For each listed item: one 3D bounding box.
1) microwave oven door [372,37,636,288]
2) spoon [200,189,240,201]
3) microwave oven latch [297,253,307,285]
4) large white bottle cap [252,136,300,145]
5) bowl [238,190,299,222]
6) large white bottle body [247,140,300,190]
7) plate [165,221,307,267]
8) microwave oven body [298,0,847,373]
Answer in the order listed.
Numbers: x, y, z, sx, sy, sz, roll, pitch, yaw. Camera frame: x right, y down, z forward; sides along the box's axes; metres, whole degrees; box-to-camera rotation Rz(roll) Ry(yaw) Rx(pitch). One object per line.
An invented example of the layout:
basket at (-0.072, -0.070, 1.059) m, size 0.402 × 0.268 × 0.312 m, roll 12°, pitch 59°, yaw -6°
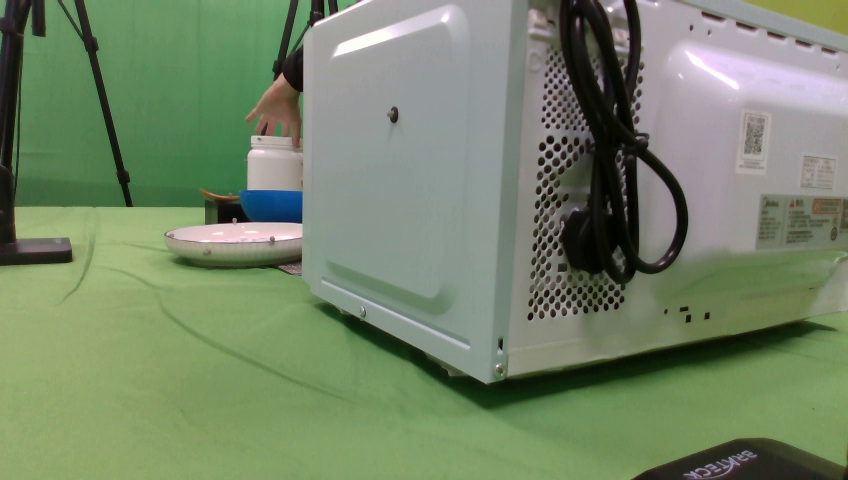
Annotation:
microwave oven door at (0.109, -0.080, 0.686) m, size 0.358 × 0.243 × 0.039 m, roll -2°, pitch 9°, yaw -33°
spoon at (-0.339, -0.080, 1.190) m, size 0.194 × 0.021 × 0.041 m, roll 5°, pitch 0°, yaw -19°
microwave oven latch at (-0.082, 0.027, 0.582) m, size 0.079 × 0.029 × 0.030 m, roll -1°, pitch 7°, yaw -32°
large white bottle cap at (-0.337, -0.228, 1.390) m, size 0.115 × 0.018 × 0.115 m, roll 2°, pitch 7°, yaw 0°
bowl at (-0.245, -0.045, 1.052) m, size 0.151 × 0.077 × 0.151 m, roll 2°, pitch 7°, yaw 0°
large white bottle body at (-0.341, -0.144, 1.401) m, size 0.131 × 0.184 × 0.130 m, roll 2°, pitch 7°, yaw 0°
plate at (-0.241, 0.004, 0.829) m, size 0.209 × 0.038 × 0.209 m, roll 0°, pitch 9°, yaw 0°
microwave oven body at (0.151, -0.055, 0.543) m, size 0.444 × 0.260 × 0.324 m, roll -2°, pitch 7°, yaw -33°
